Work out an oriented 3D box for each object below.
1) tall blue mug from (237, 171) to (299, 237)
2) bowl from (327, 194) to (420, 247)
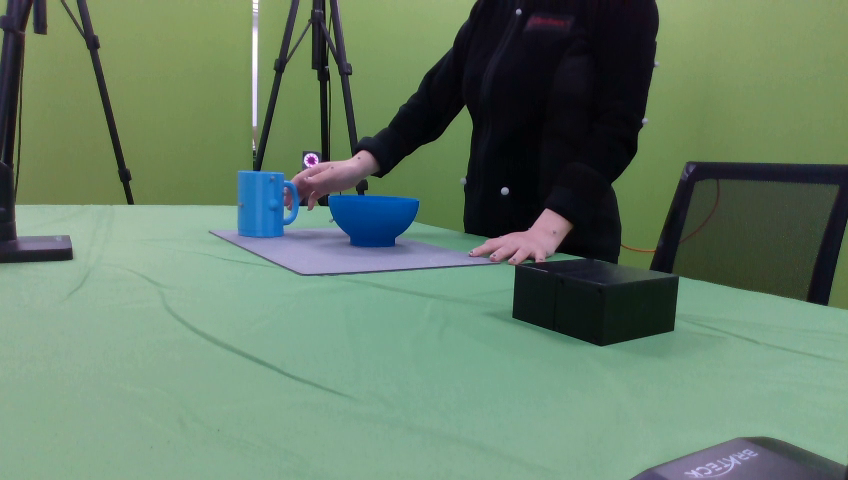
[{"bbox_3d":[-0.276,-0.064,1.053,0.077,0.108,0.107,3,7,14],"label":"tall blue mug"},{"bbox_3d":[-0.083,-0.032,0.987,0.151,0.077,0.151,2,7,0],"label":"bowl"}]
